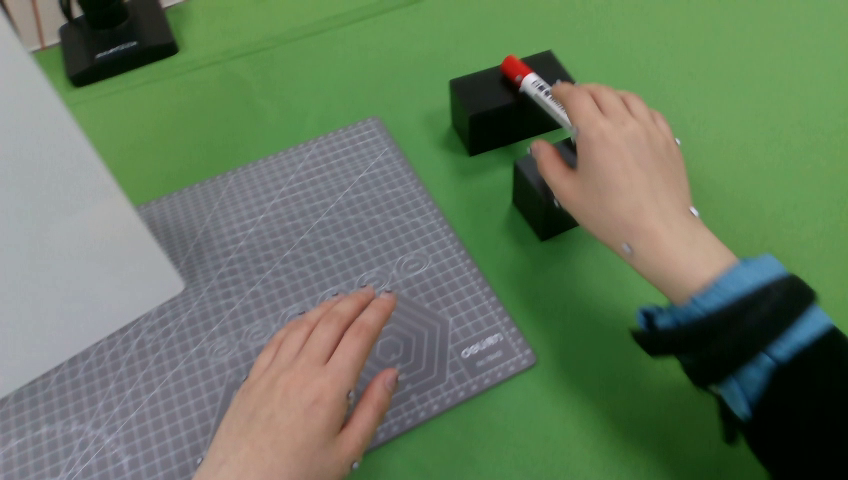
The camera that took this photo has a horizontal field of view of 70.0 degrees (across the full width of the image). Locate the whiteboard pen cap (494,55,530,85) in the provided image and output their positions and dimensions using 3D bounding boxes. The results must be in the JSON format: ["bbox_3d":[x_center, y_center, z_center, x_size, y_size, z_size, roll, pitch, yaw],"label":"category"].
[{"bbox_3d":[0.076,-0.146,0.525,0.017,0.017,0.032,-30,55,-15],"label":"whiteboard pen cap"}]

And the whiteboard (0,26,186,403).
[{"bbox_3d":[-0.351,-0.047,0.411,0.217,0.308,0.142,-33,38,-17],"label":"whiteboard"}]

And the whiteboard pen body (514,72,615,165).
[{"bbox_3d":[0.105,-0.107,0.493,0.017,0.017,0.139,-27,56,-14],"label":"whiteboard pen body"}]
